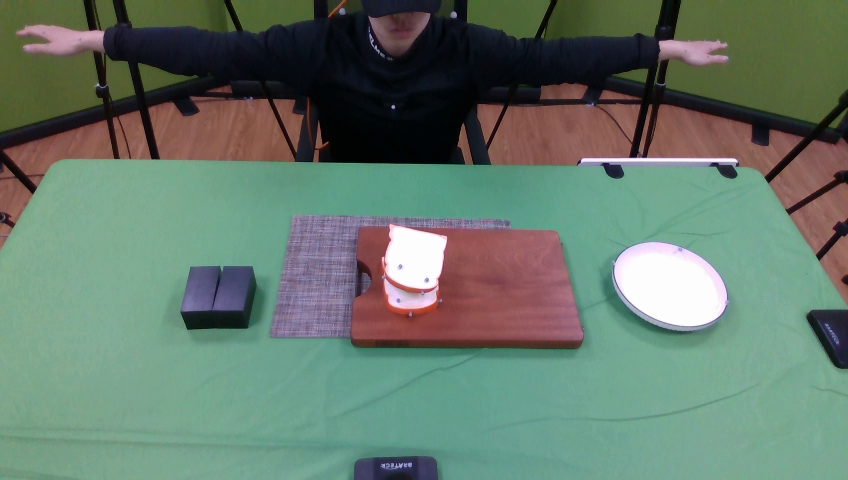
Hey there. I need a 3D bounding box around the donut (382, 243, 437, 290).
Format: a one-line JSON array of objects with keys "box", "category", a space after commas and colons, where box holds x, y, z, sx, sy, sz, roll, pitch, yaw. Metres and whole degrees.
[{"box": [-0.026, 0.046, 1.077, 0.099, 0.048, 0.098, 4, 45, -3], "category": "donut"}]

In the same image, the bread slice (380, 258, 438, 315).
[{"box": [-0.024, 0.079, 1.087, 0.105, 0.019, 0.130, -2, 45, -5], "category": "bread slice"}]

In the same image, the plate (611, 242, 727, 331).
[{"box": [0.455, 0.090, 1.138, 0.209, 0.038, 0.208, 3, 45, -2], "category": "plate"}]

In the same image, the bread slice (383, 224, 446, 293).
[{"box": [-0.017, 0.034, 1.050, 0.107, 0.018, 0.133, 11, 48, -7], "category": "bread slice"}]
